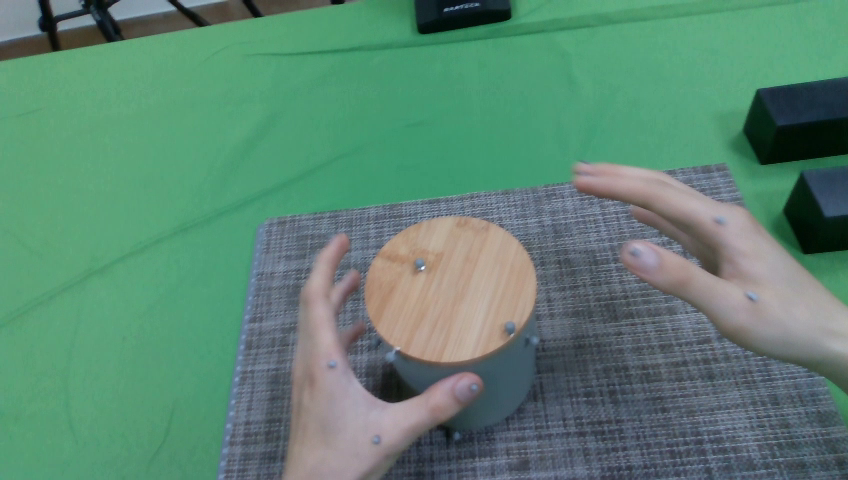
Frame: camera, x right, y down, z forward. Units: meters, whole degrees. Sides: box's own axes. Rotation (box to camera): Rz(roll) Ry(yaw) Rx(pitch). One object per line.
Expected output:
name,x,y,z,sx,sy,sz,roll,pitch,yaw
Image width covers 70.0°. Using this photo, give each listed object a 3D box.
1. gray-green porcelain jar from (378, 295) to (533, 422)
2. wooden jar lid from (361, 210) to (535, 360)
gray-green porcelain jar,0.024,0.064,0.432,0.106,0.128,0.105,-5,54,7
wooden jar lid,0.015,0.028,0.383,0.108,0.021,0.107,-3,56,5
